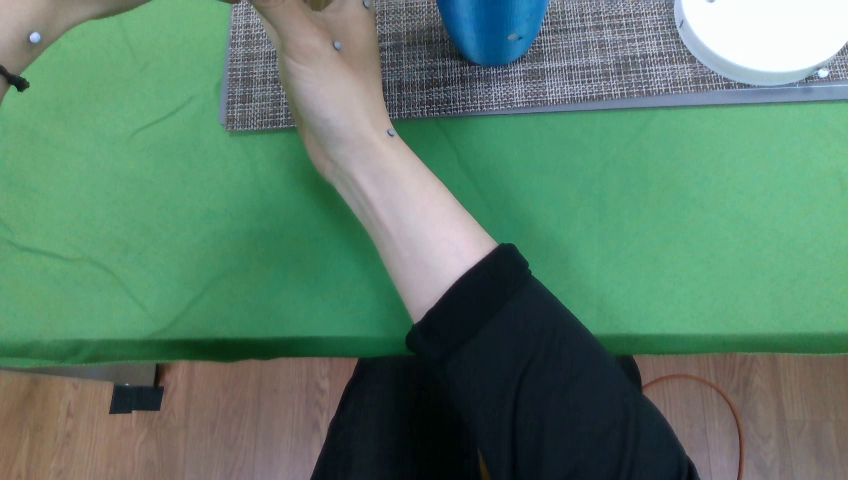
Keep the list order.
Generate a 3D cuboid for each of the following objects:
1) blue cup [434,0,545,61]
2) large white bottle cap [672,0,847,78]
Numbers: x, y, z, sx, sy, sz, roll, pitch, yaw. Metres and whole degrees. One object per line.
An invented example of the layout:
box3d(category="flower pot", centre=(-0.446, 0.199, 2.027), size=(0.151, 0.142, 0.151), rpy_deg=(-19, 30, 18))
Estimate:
box3d(category="blue cup", centre=(0.042, -0.167, 0.386), size=(0.092, 0.101, 0.092), rpy_deg=(-2, 74, 7))
box3d(category="large white bottle cap", centre=(0.229, -0.165, 0.410), size=(0.115, 0.018, 0.114), rpy_deg=(-1, 75, 6))
